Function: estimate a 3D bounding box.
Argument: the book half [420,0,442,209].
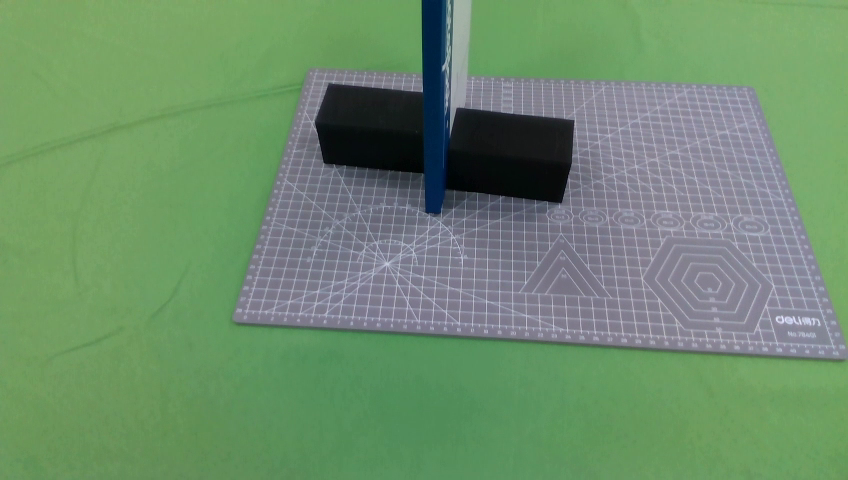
[{"bbox_3d":[0.016,-0.145,0.468,0.016,0.212,0.147,7,54,6],"label":"book half"}]

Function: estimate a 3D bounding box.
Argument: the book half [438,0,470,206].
[{"bbox_3d":[0.023,-0.146,0.470,0.007,0.212,0.142,8,54,7],"label":"book half"}]
